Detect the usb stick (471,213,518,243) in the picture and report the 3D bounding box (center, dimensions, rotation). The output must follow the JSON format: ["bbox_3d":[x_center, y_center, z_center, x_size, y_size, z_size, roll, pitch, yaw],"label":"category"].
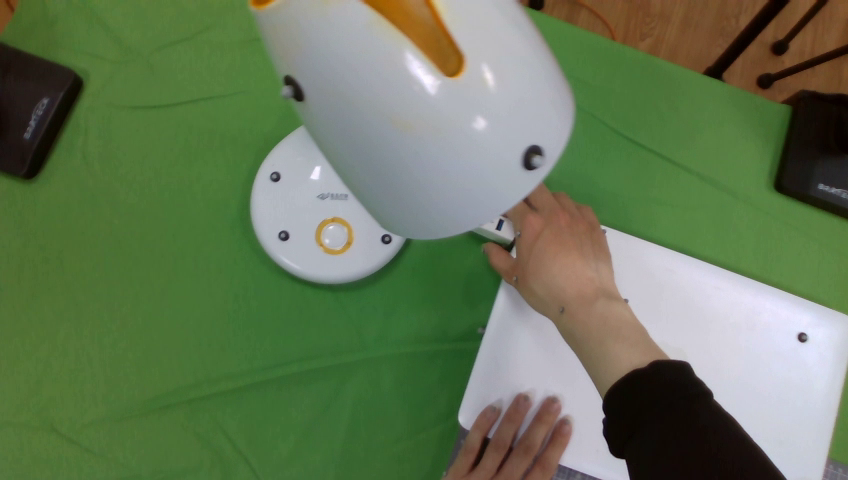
[{"bbox_3d":[0.075,-0.014,0.602,0.059,0.027,0.021,23,73,-3],"label":"usb stick"}]

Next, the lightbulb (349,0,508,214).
[{"bbox_3d":[0.000,-0.056,0.265,0.059,0.109,0.059,-15,47,17],"label":"lightbulb"}]

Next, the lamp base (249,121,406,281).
[{"bbox_3d":[-0.089,-0.065,0.527,0.161,0.181,0.178,-10,78,-6],"label":"lamp base"}]

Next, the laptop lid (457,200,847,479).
[{"bbox_3d":[0.231,0.124,0.589,0.357,0.013,0.241,21,81,0],"label":"laptop lid"}]

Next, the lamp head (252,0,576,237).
[{"bbox_3d":[-0.012,-0.079,0.248,0.112,0.111,0.124,-51,129,-10],"label":"lamp head"}]

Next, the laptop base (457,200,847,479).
[{"bbox_3d":[0.231,0.124,0.601,0.354,0.023,0.235,20,82,-1],"label":"laptop base"}]
